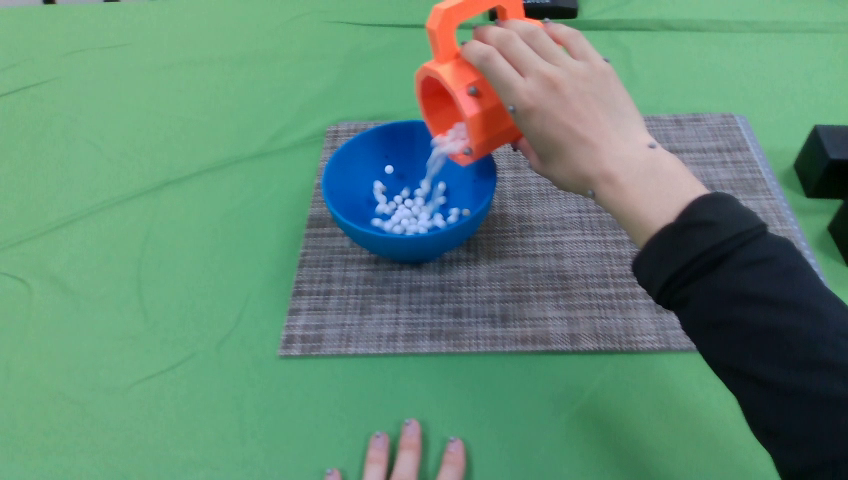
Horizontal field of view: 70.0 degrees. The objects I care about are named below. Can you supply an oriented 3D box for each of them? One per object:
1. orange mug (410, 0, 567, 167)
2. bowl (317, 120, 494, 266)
[{"bbox_3d":[0.045,-0.132,0.481,0.101,0.127,0.082,-33,37,-13],"label":"orange mug"},{"bbox_3d":[-0.013,-0.030,0.539,0.151,0.077,0.150,-2,48,3],"label":"bowl"}]
